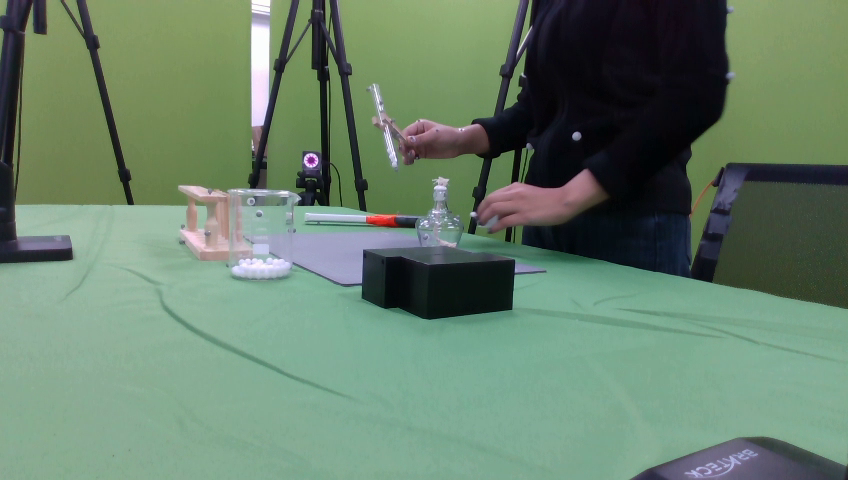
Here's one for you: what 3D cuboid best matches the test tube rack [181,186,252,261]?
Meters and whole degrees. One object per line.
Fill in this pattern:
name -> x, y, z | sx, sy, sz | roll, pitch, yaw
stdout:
test tube rack -> -0.312, -0.031, 0.893 | 0.067, 0.085, 0.241 | -1, 8, -27

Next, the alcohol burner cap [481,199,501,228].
alcohol burner cap -> 0.114, -0.044, 1.000 | 0.034, 0.048, 0.034 | 6, 7, 0

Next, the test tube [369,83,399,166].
test tube -> -0.065, -0.191, 0.994 | 0.017, 0.150, 0.017 | -15, -13, -3

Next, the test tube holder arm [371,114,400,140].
test tube holder arm -> -0.061, -0.189, 1.017 | 0.010, 0.015, 0.088 | -21, -19, 24

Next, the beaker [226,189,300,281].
beaker -> -0.184, -0.007, 0.694 | 0.084, 0.100, 0.073 | -1, 8, -29

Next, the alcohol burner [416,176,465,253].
alcohol burner -> 0.025, -0.040, 0.935 | 0.078, 0.119, 0.078 | 1, 6, 0

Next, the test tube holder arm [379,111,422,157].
test tube holder arm -> -0.038, -0.181, 1.056 | 0.013, 0.015, 0.179 | -18, -18, 17

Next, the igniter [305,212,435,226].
igniter -> -0.114, -0.046, 1.296 | 0.277, 0.025, 0.057 | 1, -2, -11
